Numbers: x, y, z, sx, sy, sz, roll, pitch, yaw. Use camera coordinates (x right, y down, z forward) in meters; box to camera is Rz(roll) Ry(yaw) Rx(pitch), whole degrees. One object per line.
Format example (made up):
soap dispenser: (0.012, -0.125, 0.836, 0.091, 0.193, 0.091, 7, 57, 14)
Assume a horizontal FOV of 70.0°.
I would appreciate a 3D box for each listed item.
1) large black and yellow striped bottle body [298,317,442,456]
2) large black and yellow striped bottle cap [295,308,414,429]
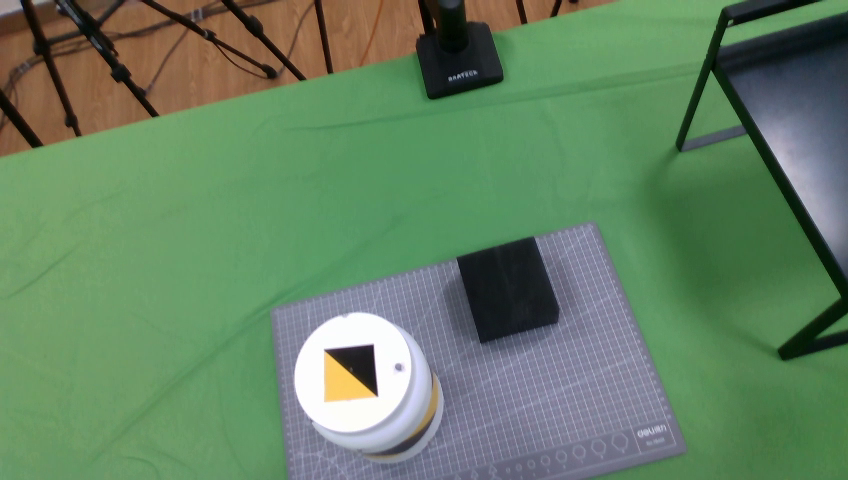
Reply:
large black and yellow striped bottle body: (-0.055, 0.157, 0.654, 0.130, 0.185, 0.129, -4, 64, 8)
large black and yellow striped bottle cap: (-0.067, 0.121, 0.579, 0.115, 0.019, 0.114, -4, 65, 8)
